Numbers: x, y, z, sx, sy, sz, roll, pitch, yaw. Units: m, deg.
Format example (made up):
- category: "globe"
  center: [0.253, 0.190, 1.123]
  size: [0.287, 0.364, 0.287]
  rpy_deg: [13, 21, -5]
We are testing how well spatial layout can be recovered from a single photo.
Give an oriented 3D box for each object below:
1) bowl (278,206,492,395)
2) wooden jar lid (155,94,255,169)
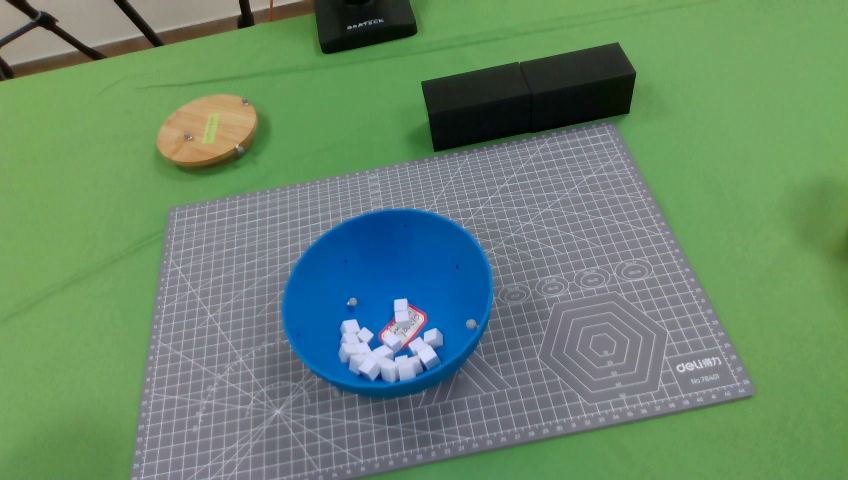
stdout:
- category: "bowl"
  center: [-0.023, 0.055, 0.451]
  size: [0.151, 0.077, 0.150]
  rpy_deg: [-4, 52, 5]
- category: "wooden jar lid"
  center: [-0.235, -0.117, 0.657]
  size: [0.108, 0.021, 0.107]
  rpy_deg: [-3, 52, 4]
